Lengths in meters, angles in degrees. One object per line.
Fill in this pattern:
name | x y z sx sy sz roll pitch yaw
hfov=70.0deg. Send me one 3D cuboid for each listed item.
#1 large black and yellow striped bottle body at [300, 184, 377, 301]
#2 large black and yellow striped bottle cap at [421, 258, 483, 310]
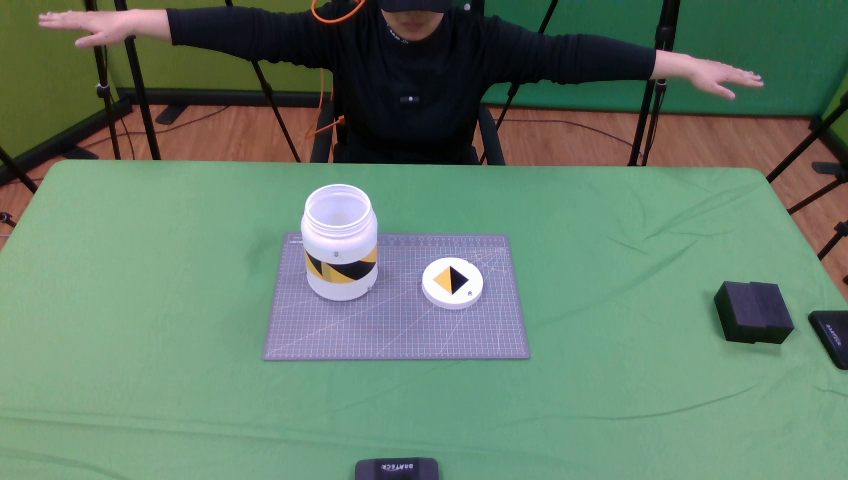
large black and yellow striped bottle body | -0.148 0.004 1.067 0.131 0.185 0.130 2 46 -2
large black and yellow striped bottle cap | 0.053 0.080 1.126 0.115 0.019 0.114 2 45 -1
